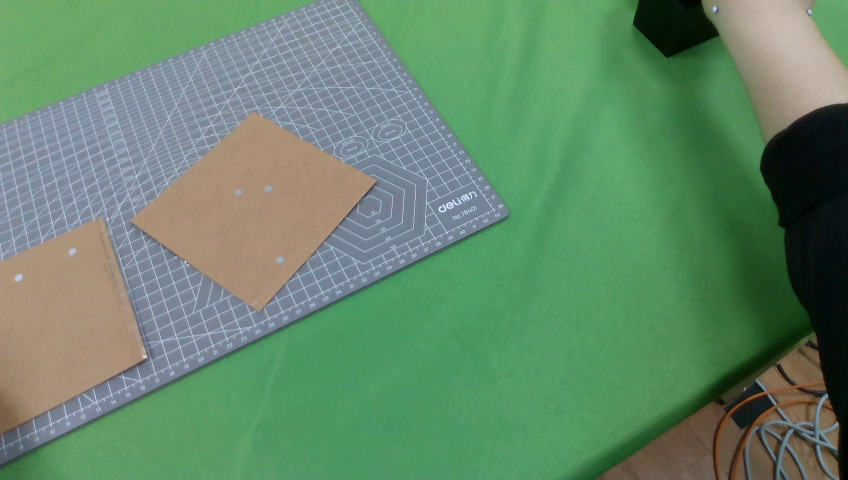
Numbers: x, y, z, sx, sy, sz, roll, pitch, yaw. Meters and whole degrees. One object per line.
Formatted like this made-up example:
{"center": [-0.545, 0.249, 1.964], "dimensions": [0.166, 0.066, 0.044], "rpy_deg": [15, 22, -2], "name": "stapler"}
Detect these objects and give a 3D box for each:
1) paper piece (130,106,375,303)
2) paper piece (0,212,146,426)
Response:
{"center": [-0.131, -0.035, 0.465], "dimensions": [0.135, 0.004, 0.135], "rpy_deg": [31, 66, 19], "name": "paper piece"}
{"center": [-0.275, 0.056, 0.422], "dimensions": [0.138, 0.009, 0.134], "rpy_deg": [-27, 58, -10], "name": "paper piece"}
